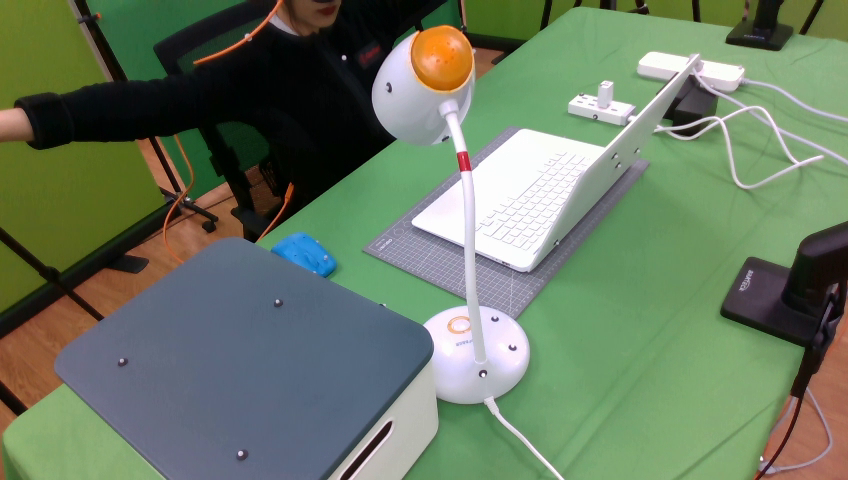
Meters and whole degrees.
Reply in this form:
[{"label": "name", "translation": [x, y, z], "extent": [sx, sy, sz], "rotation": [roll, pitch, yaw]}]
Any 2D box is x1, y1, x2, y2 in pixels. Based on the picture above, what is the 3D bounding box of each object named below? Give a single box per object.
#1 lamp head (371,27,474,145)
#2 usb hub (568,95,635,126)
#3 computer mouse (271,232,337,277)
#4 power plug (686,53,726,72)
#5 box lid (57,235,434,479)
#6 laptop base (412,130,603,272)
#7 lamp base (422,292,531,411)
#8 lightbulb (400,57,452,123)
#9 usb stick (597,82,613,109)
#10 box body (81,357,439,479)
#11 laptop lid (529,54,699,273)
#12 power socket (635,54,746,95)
[{"label": "lamp head", "translation": [0.007, -0.167, 0.644], "extent": [0.113, 0.112, 0.122], "rotation": [-22, 2, -14]}, {"label": "usb hub", "translation": [0.360, -0.263, 1.228], "extent": [0.124, 0.025, 0.049], "rotation": [24, 49, 33]}, {"label": "computer mouse", "translation": [-0.197, 0.026, 0.983], "extent": [0.063, 0.041, 0.116], "rotation": [-33, 49, -28]}, {"label": "power plug", "translation": [0.584, -0.361, 1.260], "extent": [0.072, 0.053, 0.035], "rotation": [14, 55, 16]}, {"label": "box lid", "translation": [-0.198, 0.123, 0.653], "extent": [0.368, 0.015, 0.264], "rotation": [22, 49, 32]}, {"label": "laptop base", "translation": [0.176, -0.083, 1.055], "extent": [0.233, 0.023, 0.355], "rotation": [21, 48, 36]}, {"label": "lamp base", "translation": [0.054, 0.095, 0.740], "extent": [0.161, 0.181, 0.177], "rotation": [-19, 43, -11]}, {"label": "lightbulb", "translation": [0.003, -0.169, 0.668], "extent": [0.059, 0.108, 0.059], "rotation": [0, 79, -1]}, {"label": "usb stick", "translation": [0.360, -0.281, 1.204], "extent": [0.021, 0.059, 0.027], "rotation": [23, 49, 33]}, {"label": "box body", "translation": [-0.189, 0.178, 0.702], "extent": [0.361, 0.161, 0.255], "rotation": [22, 49, 32]}, {"label": "laptop lid", "translation": [0.283, -0.114, 0.897], "extent": [0.013, 0.242, 0.358], "rotation": [38, 55, 17]}, {"label": "power socket", "translation": [0.564, -0.357, 1.293], "extent": [0.225, 0.033, 0.072], "rotation": [24, 51, 33]}]
